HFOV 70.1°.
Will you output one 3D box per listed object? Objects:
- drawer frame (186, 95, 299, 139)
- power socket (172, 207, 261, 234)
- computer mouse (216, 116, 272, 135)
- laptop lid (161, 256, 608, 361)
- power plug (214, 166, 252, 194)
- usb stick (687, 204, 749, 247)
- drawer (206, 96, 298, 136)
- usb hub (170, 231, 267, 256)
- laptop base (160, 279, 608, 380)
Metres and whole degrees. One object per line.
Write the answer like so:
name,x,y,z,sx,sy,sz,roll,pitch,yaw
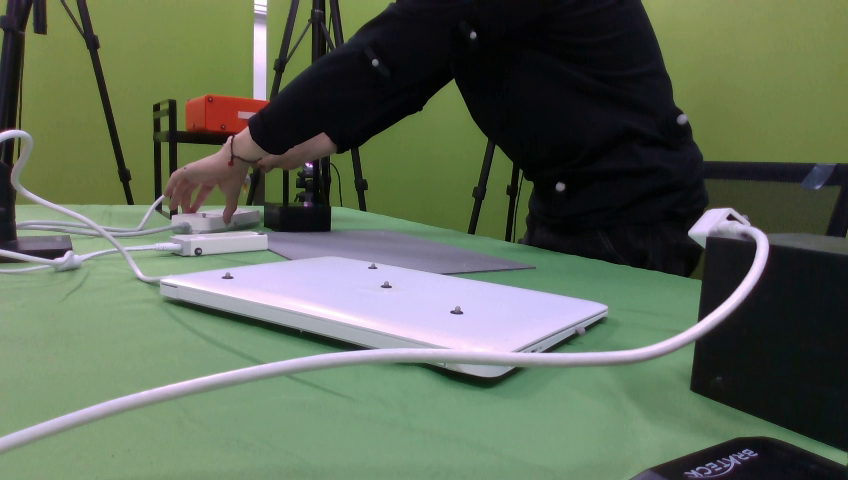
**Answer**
drawer frame,-0.417,-0.277,1.378,0.203,0.082,0.212,-3,8,-32
power socket,-0.381,-0.038,1.129,0.072,0.032,0.227,3,8,11
computer mouse,-0.402,-0.257,1.353,0.118,0.041,0.062,-5,14,-35
laptop lid,-0.037,0.046,0.555,0.355,0.013,0.243,8,8,35
power plug,-0.379,-0.119,1.205,0.072,0.052,0.035,2,-9,9
usb stick,0.214,-0.010,0.448,0.021,0.027,0.059,39,2,6
drawer,-0.414,-0.275,1.376,0.195,0.073,0.210,-3,8,-31
usb hub,-0.290,0.004,0.862,0.049,0.025,0.126,11,11,42
laptop base,-0.038,0.059,0.555,0.352,0.023,0.237,8,7,33
